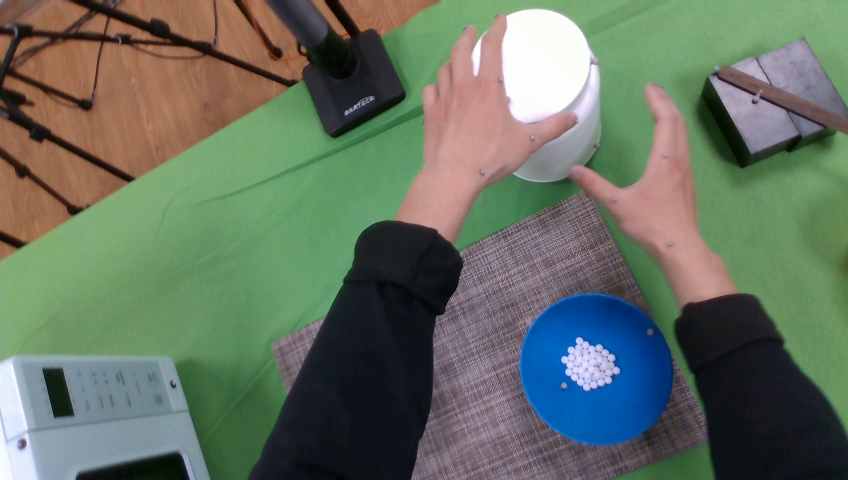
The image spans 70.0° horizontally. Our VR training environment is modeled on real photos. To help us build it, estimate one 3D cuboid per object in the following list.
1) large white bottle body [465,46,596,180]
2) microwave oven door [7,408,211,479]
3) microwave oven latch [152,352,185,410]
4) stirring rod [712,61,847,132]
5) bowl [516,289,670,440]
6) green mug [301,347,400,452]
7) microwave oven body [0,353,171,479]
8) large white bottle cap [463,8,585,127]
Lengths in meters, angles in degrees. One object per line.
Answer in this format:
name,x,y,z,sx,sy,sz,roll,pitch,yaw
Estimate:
large white bottle body,0.118,-0.149,0.656,0.130,0.186,0.130,-3,80,16
microwave oven door,-0.287,0.362,0.644,0.039,0.245,0.353,-28,74,10
microwave oven latch,-0.343,0.187,0.797,0.030,0.030,0.078,-28,75,10
stirring rod,0.377,-0.140,0.615,0.175,0.006,0.014,32,126,19
bowl,0.178,0.130,0.644,0.151,0.077,0.151,-3,80,17
green mug,-0.074,0.184,0.697,0.092,0.105,0.124,-35,73,8
microwave oven body,-0.430,0.393,0.686,0.326,0.262,0.439,-28,75,10
large white bottle cap,0.094,-0.164,0.575,0.114,0.018,0.114,-3,80,15
